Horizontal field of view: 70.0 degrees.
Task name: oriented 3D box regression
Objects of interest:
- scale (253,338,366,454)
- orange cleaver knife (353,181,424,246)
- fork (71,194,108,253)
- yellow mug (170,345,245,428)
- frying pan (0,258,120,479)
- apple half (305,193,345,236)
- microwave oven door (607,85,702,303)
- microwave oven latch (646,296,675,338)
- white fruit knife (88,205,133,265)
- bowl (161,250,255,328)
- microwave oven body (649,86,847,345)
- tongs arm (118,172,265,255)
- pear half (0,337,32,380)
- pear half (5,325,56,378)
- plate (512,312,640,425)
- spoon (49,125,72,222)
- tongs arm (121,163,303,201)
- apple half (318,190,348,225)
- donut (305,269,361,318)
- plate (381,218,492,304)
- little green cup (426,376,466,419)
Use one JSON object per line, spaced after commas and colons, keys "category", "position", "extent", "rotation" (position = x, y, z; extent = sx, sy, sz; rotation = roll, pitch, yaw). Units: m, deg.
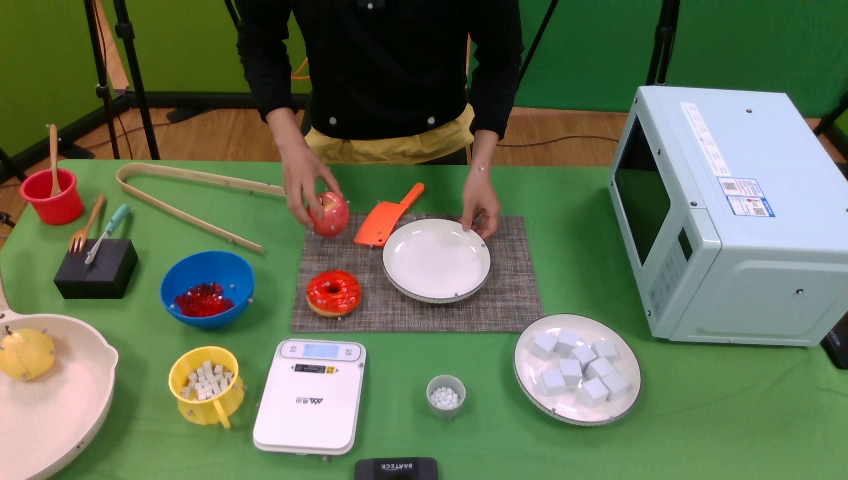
{"category": "scale", "position": [-0.175, 0.236, 0.951], "extent": [0.149, 0.032, 0.199], "rotation": [5, 45, -1]}
{"category": "orange cleaver knife", "position": [-0.070, -0.059, 1.245], "extent": [0.077, 0.012, 0.210], "rotation": [17, 49, 22]}
{"category": "fork", "position": [-0.634, -0.036, 1.158], "extent": [0.028, 0.019, 0.206], "rotation": [-8, 31, -8]}
{"category": "yellow mug", "position": [-0.322, 0.230, 0.922], "extent": [0.100, 0.064, 0.130], "rotation": [-24, 53, -25]}
{"category": "frying pan", "position": [-0.647, 0.164, 0.936], "extent": [0.307, 0.103, 0.485], "rotation": [-19, 58, -22]}
{"category": "apple half", "position": [-0.191, -0.041, 1.131], "extent": [0.080, 0.075, 0.053], "rotation": [36, 61, 22]}
{"category": "microwave oven door", "position": [0.423, -0.094, 1.140], "extent": [0.039, 0.245, 0.353], "rotation": [2, 46, -1]}
{"category": "microwave oven latch", "position": [0.412, 0.134, 1.061], "extent": [0.030, 0.029, 0.078], "rotation": [4, 45, 1]}
{"category": "white fruit knife", "position": [-0.584, -0.013, 1.129], "extent": [0.016, 0.027, 0.206], "rotation": [0, 32, -5]}
{"category": "bowl", "position": [-0.362, 0.098, 1.039], "extent": [0.151, 0.077, 0.150], "rotation": [2, 45, -2]}
{"category": "microwave oven body", "position": [0.568, -0.053, 1.118], "extent": [0.326, 0.261, 0.439], "rotation": [2, 45, -1]}
{"category": "tongs arm", "position": [-0.473, -0.054, 1.212], "extent": [0.386, 0.028, 0.028], "rotation": [23, 57, 17]}
{"category": "pear half", "position": [-0.631, 0.184, 0.921], "extent": [0.070, 0.088, 0.031], "rotation": [29, 49, 19]}
{"category": "pear half", "position": [-0.608, 0.158, 0.935], "extent": [0.076, 0.110, 0.056], "rotation": [31, 51, 20]}
{"category": "plate", "position": [0.246, 0.213, 0.999], "extent": [0.208, 0.039, 0.206], "rotation": [2, 46, -2]}
{"category": "spoon", "position": [-0.718, -0.131, 1.189], "extent": [0.041, 0.021, 0.193], "rotation": [-4, 90, -7]}
{"category": "tongs arm", "position": [-0.444, -0.114, 1.266], "extent": [0.384, 0.026, 0.050], "rotation": [12, 51, 7]}
{"category": "apple half", "position": [-0.166, -0.063, 1.150], "extent": [0.081, 0.082, 0.033], "rotation": [34, 60, 26]}
{"category": "donut", "position": [-0.160, 0.094, 1.075], "extent": [0.099, 0.048, 0.098], "rotation": [4, 45, -3]}
{"category": "plate", "position": [0.023, 0.042, 1.143], "extent": [0.209, 0.038, 0.208], "rotation": [3, 46, -2]}
{"category": "little green cup", "position": [0.033, 0.248, 0.950], "extent": [0.061, 0.039, 0.061], "rotation": [2, 46, -2]}
